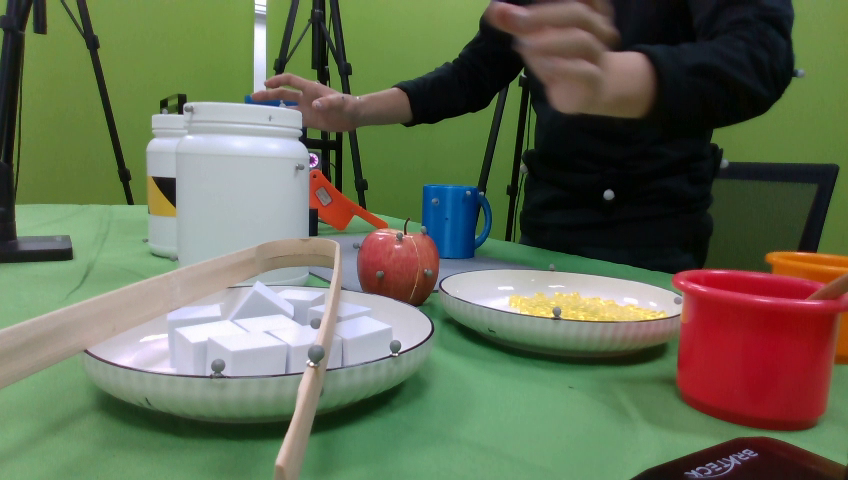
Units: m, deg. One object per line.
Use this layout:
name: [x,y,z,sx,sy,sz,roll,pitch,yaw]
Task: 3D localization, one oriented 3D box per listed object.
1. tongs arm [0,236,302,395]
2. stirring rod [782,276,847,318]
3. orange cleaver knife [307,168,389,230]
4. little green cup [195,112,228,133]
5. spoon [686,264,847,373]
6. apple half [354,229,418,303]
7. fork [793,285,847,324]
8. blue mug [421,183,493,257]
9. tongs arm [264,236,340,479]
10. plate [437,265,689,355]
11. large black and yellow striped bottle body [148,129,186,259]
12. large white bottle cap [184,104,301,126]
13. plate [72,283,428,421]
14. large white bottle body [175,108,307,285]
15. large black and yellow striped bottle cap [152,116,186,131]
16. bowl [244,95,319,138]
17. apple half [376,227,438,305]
tongs arm: [-0.158,0.038,0.350,0.028,0.028,0.388,-3,8,11]
stirring rod: [0.345,0.019,0.461,0.014,0.006,0.176,-14,-26,-30]
orange cleaver knife: [-0.158,-0.060,1.166,0.212,0.077,0.012,34,-12,-32]
little green cup: [-0.412,-0.227,1.171,0.061,0.038,0.061,3,8,0]
spoon: [0.214,0.032,0.328,0.042,0.021,0.193,-3,-35,-26]
apple half: [-0.044,0.027,0.564,0.081,0.081,0.033,9,5,42]
fork: [0.332,0.018,0.443,0.028,0.018,0.207,-1,-36,-15]
blue mug: [0.052,-0.032,0.912,0.117,0.106,0.082,-1,8,-24]
tongs arm: [-0.074,0.039,0.349,0.051,0.026,0.384,-2,9,-3]
plate: [0.114,0.057,0.517,0.209,0.038,0.209,3,7,0]
large black and yellow striped bottle body: [-0.310,-0.073,0.838,0.131,0.184,0.130,2,8,0]
large white bottle cap: [-0.184,-0.126,0.618,0.115,0.018,0.115,2,8,0]
plate: [-0.102,0.066,0.381,0.208,0.039,0.207,2,7,0]
large white bottle body: [-0.188,-0.042,0.630,0.131,0.184,0.130,2,8,0]
large black and yellow striped bottle cap: [-0.309,-0.156,0.826,0.115,0.019,0.115,3,6,0]
bowl: [-0.293,-0.251,1.249,0.151,0.077,0.151,2,7,0]
apple half: [-0.017,0.026,0.593,0.080,0.074,0.054,4,2,43]
